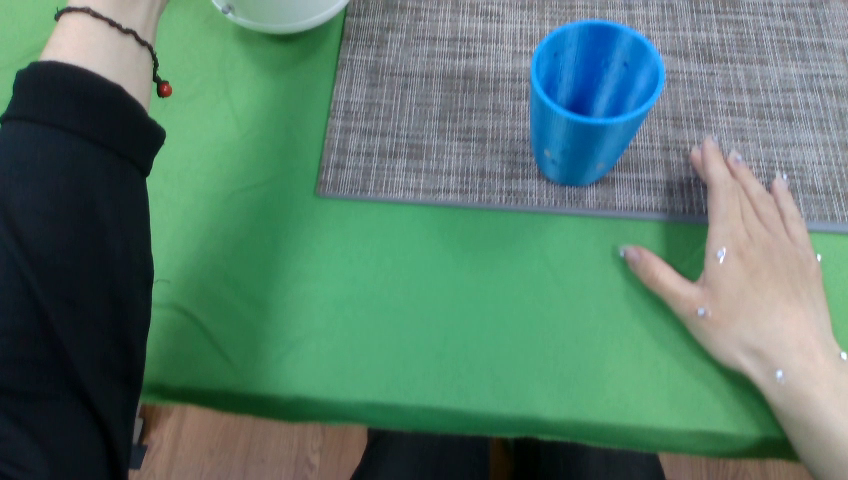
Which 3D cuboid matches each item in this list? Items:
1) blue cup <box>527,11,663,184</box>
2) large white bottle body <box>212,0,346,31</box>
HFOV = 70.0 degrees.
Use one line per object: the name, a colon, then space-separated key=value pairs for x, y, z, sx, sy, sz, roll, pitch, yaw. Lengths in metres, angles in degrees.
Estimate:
blue cup: x=0.112 y=-0.090 z=0.431 sx=0.092 sy=0.101 sz=0.092 roll=-1 pitch=65 yaw=3
large white bottle body: x=-0.122 y=-0.264 z=0.441 sx=0.130 sy=0.186 sz=0.129 roll=0 pitch=66 yaw=0
